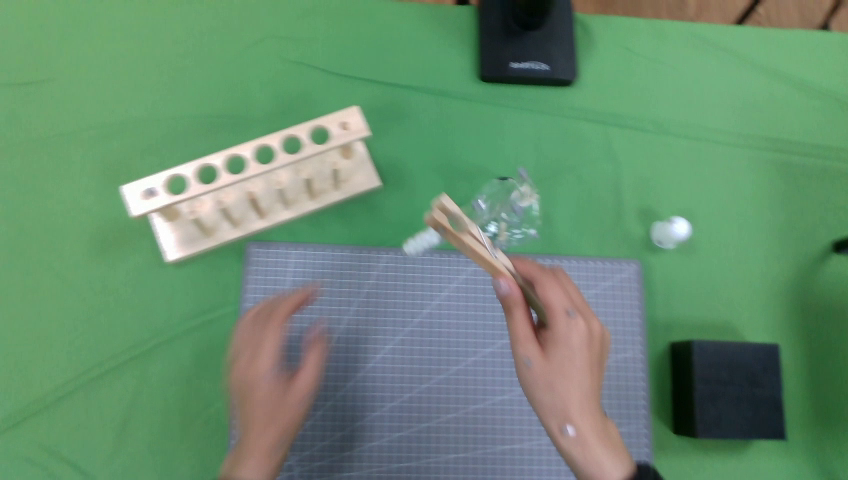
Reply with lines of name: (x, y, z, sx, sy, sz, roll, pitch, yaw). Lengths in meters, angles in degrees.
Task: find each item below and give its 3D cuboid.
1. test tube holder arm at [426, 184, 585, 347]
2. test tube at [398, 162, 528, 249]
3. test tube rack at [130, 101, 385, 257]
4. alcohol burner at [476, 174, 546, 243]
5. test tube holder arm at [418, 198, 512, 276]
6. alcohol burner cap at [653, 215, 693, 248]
test tube holder arm: (0.067, 0.024, 0.468, 0.179, 0.015, 0.013, 44, 57, -18)
test tube: (0.022, -0.020, 0.440, 0.017, 0.150, 0.017, 12, 67, -29)
test tube rack: (-0.164, -0.062, 0.638, 0.242, 0.085, 0.066, -21, 81, -10)
alcohol burner: (0.097, -0.038, 0.647, 0.078, 0.119, 0.077, 1, 79, -7)
test tube holder arm: (0.033, -0.001, 0.451, 0.088, 0.015, 0.010, 37, 59, -21)
alcohol burner cap: (0.290, -0.011, 0.699, 0.034, 0.048, 0.033, 1, 77, -4)
